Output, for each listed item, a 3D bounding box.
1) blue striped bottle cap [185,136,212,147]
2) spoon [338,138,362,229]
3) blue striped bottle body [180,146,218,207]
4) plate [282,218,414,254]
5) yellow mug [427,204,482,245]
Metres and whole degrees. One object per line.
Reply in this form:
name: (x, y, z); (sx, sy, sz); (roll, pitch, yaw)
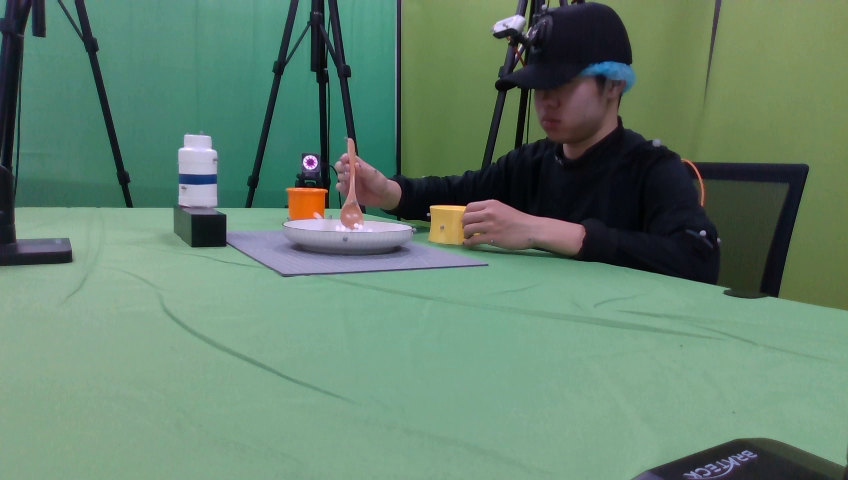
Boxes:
blue striped bottle cap: (-0.390, -0.169, 1.047); (0.044, 0.020, 0.044); (4, 10, 0)
spoon: (-0.126, -0.100, 1.042); (0.042, 0.193, 0.021); (8, -29, -20)
blue striped bottle body: (-0.392, -0.119, 1.053); (0.063, 0.120, 0.063); (2, 8, 0)
plate: (-0.121, -0.007, 0.971); (0.208, 0.039, 0.207); (2, 7, 0)
yellow mug: (0.062, -0.028, 1.111); (0.100, 0.064, 0.130); (0, 9, -20)
